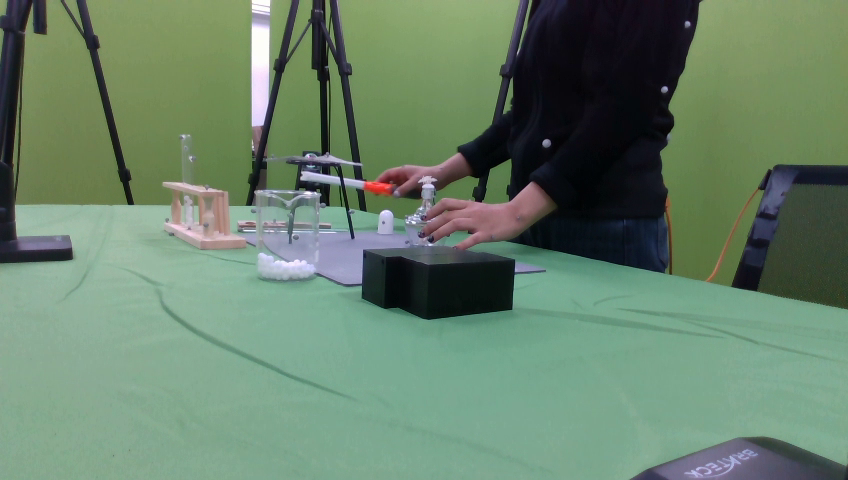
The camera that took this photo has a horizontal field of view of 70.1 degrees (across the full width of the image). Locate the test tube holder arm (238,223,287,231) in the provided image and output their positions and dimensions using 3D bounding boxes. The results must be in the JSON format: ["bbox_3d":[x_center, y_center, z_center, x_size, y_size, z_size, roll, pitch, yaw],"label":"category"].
[{"bbox_3d":[-0.296,-0.024,1.113,0.088,0.015,0.010,-1,42,-32],"label":"test tube holder arm"}]

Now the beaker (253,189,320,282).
[{"bbox_3d":[-0.156,-0.005,0.689,0.074,0.100,0.083,0,8,-14],"label":"beaker"}]

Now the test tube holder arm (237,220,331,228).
[{"bbox_3d":[-0.260,-0.029,1.141,0.179,0.015,0.013,-2,42,-33],"label":"test tube holder arm"}]

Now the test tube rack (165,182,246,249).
[{"bbox_3d":[-0.360,-0.045,0.982,0.067,0.085,0.241,-3,9,-34],"label":"test tube rack"}]

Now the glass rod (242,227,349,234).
[{"bbox_3d":[-0.232,-0.017,1.110,0.201,0.008,0.008,2,6,-30],"label":"glass rod"}]

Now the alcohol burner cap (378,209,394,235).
[{"bbox_3d":[-0.072,-0.035,1.145,0.034,0.048,0.034,2,7,0],"label":"alcohol burner cap"}]

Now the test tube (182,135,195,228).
[{"bbox_3d":[-0.382,-0.095,0.983,0.017,0.150,0.017,-1,2,0],"label":"test tube"}]

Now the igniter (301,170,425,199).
[{"bbox_3d":[-0.122,-0.116,1.269,0.278,0.025,0.057,7,3,-31],"label":"igniter"}]

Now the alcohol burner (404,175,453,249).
[{"bbox_3d":[0.007,-0.045,0.971,0.078,0.119,0.078,1,9,0],"label":"alcohol burner"}]

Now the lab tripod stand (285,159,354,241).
[{"bbox_3d":[-0.187,-0.068,1.013,0.148,0.131,0.148,4,9,0],"label":"lab tripod stand"}]

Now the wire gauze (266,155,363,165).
[{"bbox_3d":[-0.185,-0.136,1.016,0.126,0.011,0.121,-4,11,-33],"label":"wire gauze"}]
